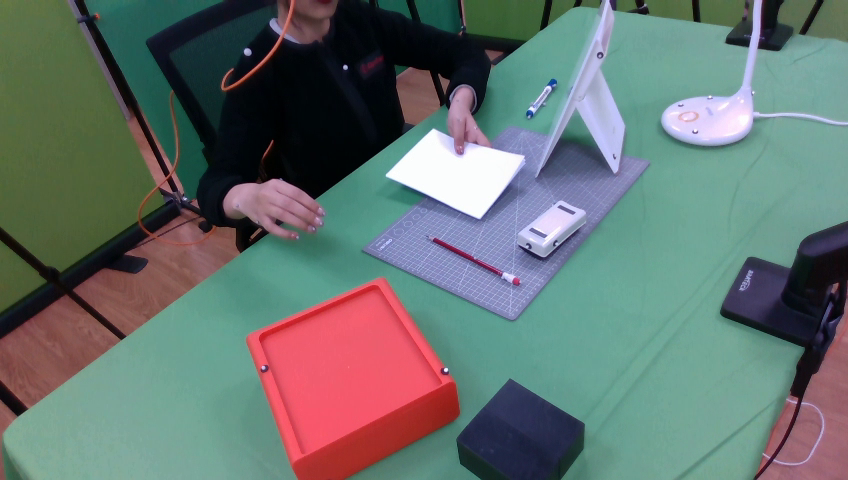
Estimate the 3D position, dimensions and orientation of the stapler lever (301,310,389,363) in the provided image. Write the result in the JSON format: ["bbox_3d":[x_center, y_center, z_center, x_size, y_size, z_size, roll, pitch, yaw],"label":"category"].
[{"bbox_3d":[-0.104,0.126,0.798,0.118,0.040,0.026,-17,42,-15],"label":"stapler lever"}]

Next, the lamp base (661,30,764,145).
[{"bbox_3d":[0.535,-0.287,1.096,0.179,0.181,0.159,-10,40,-4],"label":"lamp base"}]

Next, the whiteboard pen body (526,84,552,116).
[{"bbox_3d":[0.251,-0.305,1.298,0.017,0.017,0.141,15,45,26],"label":"whiteboard pen body"}]

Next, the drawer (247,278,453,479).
[{"bbox_3d":[-0.096,0.167,0.758,0.195,0.073,0.210,-22,43,-17],"label":"drawer"}]

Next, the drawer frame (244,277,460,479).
[{"bbox_3d":[-0.093,0.167,0.755,0.202,0.083,0.211,-23,43,-17],"label":"drawer frame"}]

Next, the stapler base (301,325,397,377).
[{"bbox_3d":[-0.101,0.143,0.814,0.131,0.024,0.041,-18,42,-13],"label":"stapler base"}]

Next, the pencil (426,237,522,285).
[{"bbox_3d":[0.072,0.029,0.941,0.192,0.012,0.012,26,52,37],"label":"pencil"}]

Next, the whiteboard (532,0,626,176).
[{"bbox_3d":[0.321,-0.258,1.050,0.144,0.306,0.217,22,45,5],"label":"whiteboard"}]

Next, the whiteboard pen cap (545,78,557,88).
[{"bbox_3d":[0.280,-0.344,1.335,0.018,0.018,0.033,15,45,25],"label":"whiteboard pen cap"}]

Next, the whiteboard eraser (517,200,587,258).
[{"bbox_3d":[0.201,-0.016,0.943,0.113,0.042,0.055,-37,46,-29],"label":"whiteboard eraser"}]
